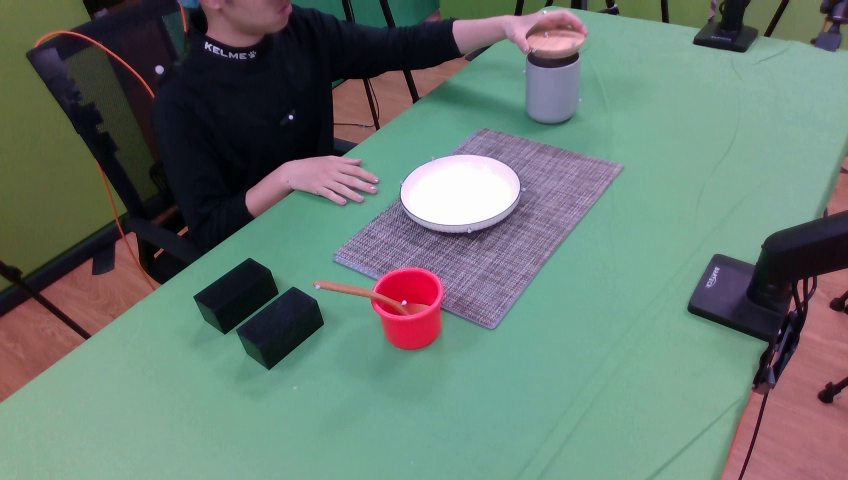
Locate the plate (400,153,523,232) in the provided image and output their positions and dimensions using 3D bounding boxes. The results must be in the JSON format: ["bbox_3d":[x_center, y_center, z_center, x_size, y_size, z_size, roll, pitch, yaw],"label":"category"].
[{"bbox_3d":[0.065,-0.078,1.034,0.207,0.039,0.206,-4,41,4],"label":"plate"}]

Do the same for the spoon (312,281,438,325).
[{"bbox_3d":[-0.060,0.078,0.793,0.195,0.021,0.041,24,25,-35],"label":"spoon"}]

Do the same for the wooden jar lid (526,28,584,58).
[{"bbox_3d":[0.250,-0.375,1.152,0.108,0.021,0.108,-5,40,5],"label":"wooden jar lid"}]

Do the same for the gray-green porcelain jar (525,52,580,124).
[{"bbox_3d":[0.256,-0.305,1.209,0.106,0.127,0.105,-4,41,4],"label":"gray-green porcelain jar"}]
